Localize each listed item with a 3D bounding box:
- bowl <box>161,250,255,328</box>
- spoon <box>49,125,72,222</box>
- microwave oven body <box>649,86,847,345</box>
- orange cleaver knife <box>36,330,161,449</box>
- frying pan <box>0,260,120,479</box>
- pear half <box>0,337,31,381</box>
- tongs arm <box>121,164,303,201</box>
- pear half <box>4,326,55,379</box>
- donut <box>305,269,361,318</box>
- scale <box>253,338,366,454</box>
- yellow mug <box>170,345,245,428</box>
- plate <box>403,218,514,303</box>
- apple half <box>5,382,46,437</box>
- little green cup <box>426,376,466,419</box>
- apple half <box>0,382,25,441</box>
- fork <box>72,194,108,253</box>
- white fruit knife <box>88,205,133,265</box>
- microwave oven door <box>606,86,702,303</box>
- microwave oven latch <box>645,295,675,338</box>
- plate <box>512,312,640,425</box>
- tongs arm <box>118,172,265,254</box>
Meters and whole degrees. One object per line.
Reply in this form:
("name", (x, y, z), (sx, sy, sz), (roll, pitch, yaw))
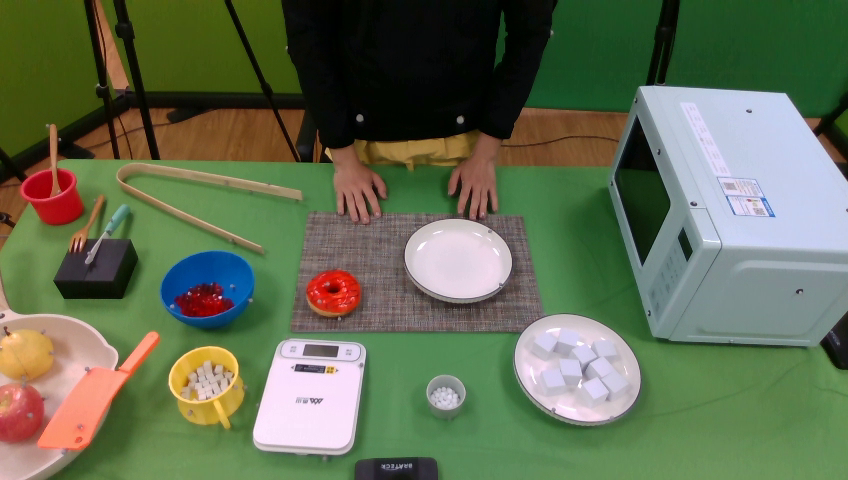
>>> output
("bowl", (-0.362, 0.098, 1.039), (0.151, 0.077, 0.150), (2, 45, -2))
("spoon", (-0.718, -0.131, 1.189), (0.041, 0.021, 0.193), (-4, 90, -6))
("microwave oven body", (0.567, -0.053, 1.118), (0.326, 0.261, 0.439), (2, 45, -1))
("orange cleaver knife", (-0.466, 0.210, 0.880), (0.077, 0.012, 0.210), (15, 46, 9))
("frying pan", (-0.647, 0.164, 0.936), (0.307, 0.103, 0.485), (-19, 58, -22))
("pear half", (-0.632, 0.185, 0.920), (0.070, 0.088, 0.031), (30, 49, 20))
("tongs arm", (-0.444, -0.114, 1.266), (0.384, 0.026, 0.050), (12, 51, 7))
("pear half", (-0.609, 0.159, 0.934), (0.076, 0.110, 0.056), (32, 52, 20))
("donut", (-0.160, 0.094, 1.075), (0.099, 0.048, 0.098), (3, 45, -3))
("scale", (-0.175, 0.236, 0.951), (0.149, 0.032, 0.199), (4, 45, 0))
("yellow mug", (-0.322, 0.230, 0.922), (0.100, 0.064, 0.130), (-24, 53, -25))
("plate", (0.064, 0.042, 1.146), (0.209, 0.038, 0.208), (2, 46, -2))
("apple half", (-0.567, 0.244, 0.877), (0.033, 0.082, 0.080), (-9, 47, -7))
("little green cup", (0.033, 0.248, 0.950), (0.061, 0.039, 0.061), (2, 46, -2))
("apple half", (-0.605, 0.250, 0.871), (0.053, 0.075, 0.080), (-9, 51, -7))
("fork", (-0.634, -0.036, 1.158), (0.028, 0.019, 0.206), (-8, 32, -8))
("white fruit knife", (-0.584, -0.013, 1.129), (0.016, 0.027, 0.206), (0, 32, -5))
("microwave oven door", (0.422, -0.094, 1.140), (0.039, 0.245, 0.353), (2, 46, -1))
("microwave oven latch", (0.411, 0.134, 1.061), (0.030, 0.029, 0.078), (3, 45, 0))
("plate", (0.246, 0.213, 0.999), (0.208, 0.039, 0.206), (2, 46, -2))
("tongs arm", (-0.473, -0.054, 1.211), (0.386, 0.028, 0.028), (23, 57, 17))
